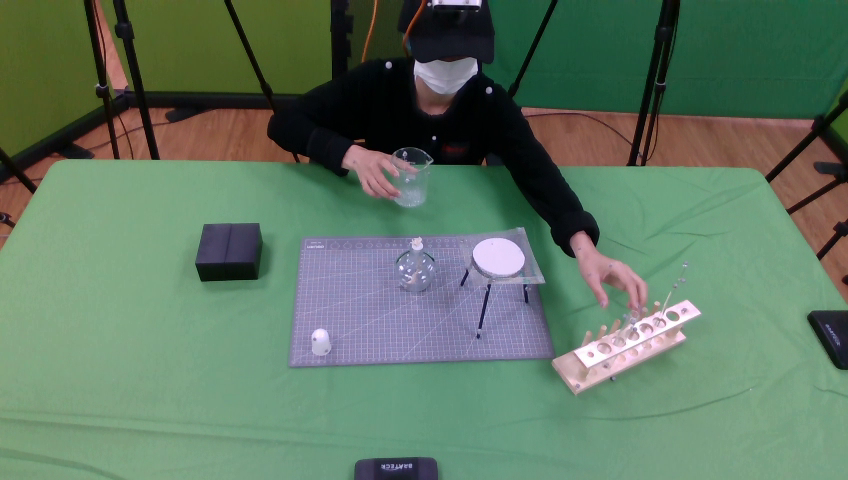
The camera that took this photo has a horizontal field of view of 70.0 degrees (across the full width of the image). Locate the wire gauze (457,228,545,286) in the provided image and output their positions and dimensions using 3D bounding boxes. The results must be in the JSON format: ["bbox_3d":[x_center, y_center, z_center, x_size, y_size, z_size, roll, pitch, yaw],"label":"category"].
[{"bbox_3d":[0.126,0.029,1.006,0.125,0.011,0.120,-4,46,-10],"label":"wire gauze"}]

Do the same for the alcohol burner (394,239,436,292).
[{"bbox_3d":[-0.016,0.038,1.093,0.078,0.119,0.077,2,48,-2],"label":"alcohol burner"}]

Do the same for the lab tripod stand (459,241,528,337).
[{"bbox_3d":[0.122,0.075,1.054,0.148,0.132,0.147,3,44,-3],"label":"lab tripod stand"}]

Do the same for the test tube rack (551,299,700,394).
[{"bbox_3d":[0.339,0.166,1.021,0.242,0.085,0.066,-19,50,-21],"label":"test tube rack"}]

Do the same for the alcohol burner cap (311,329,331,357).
[{"bbox_3d":[-0.173,0.168,1.004,0.034,0.048,0.033,2,46,-2],"label":"alcohol burner cap"}]

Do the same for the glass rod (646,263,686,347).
[{"bbox_3d":[0.392,0.110,0.986,0.008,0.201,0.008,2,42,-1],"label":"glass rod"}]

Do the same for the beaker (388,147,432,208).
[{"bbox_3d":[-0.027,-0.119,1.176,0.084,0.101,0.073,-6,48,-9],"label":"beaker"}]

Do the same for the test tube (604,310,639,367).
[{"bbox_3d":[0.310,0.159,0.957,0.017,0.151,0.017,1,49,-1],"label":"test tube"}]
